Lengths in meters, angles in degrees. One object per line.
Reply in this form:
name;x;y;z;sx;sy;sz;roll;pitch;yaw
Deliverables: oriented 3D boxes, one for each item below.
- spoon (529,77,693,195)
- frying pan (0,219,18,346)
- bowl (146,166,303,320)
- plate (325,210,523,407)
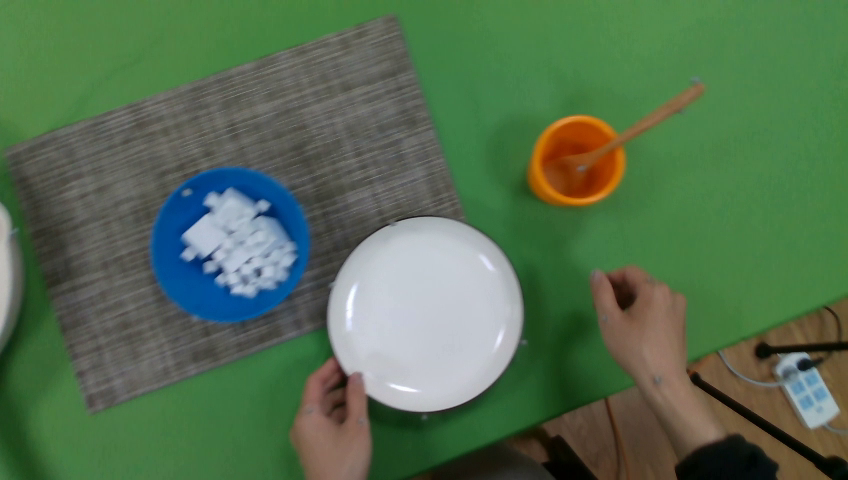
spoon;0.183;-0.102;0.612;0.021;0.193;0.041;-34;90;-47
frying pan;-0.510;0.138;0.595;0.307;0.103;0.485;-25;81;-2
bowl;-0.194;0.005;0.623;0.151;0.077;0.151;0;88;-2
plate;0.000;0.072;0.650;0.208;0.039;0.207;0;90;-3
